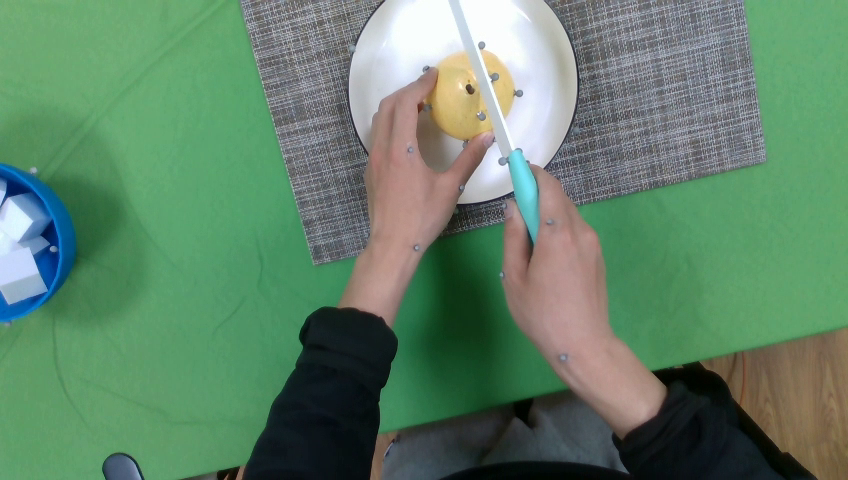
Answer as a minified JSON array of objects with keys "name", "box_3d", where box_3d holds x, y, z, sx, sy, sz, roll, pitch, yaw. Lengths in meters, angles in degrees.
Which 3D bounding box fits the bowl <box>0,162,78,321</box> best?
[{"name":"bowl","box_3d":[-0.396,-0.004,0.582,0.151,0.076,0.152,0,100,3]}]

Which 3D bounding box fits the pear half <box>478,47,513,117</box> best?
[{"name":"pear half","box_3d":[0.060,-0.135,0.521,0.031,0.088,0.070,-20,94,6]}]

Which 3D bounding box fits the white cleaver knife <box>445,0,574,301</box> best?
[{"name":"white cleaver knife","box_3d":[0.060,-0.083,0.459,0.021,0.065,0.288,-21,105,4]}]

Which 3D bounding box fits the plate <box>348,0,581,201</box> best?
[{"name":"plate","box_3d":[0.036,-0.140,0.556,0.207,0.039,0.208,0,100,3]}]

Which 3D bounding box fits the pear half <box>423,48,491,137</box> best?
[{"name":"pear half","box_3d":[0.026,-0.123,0.515,0.056,0.110,0.076,-21,93,7]}]
